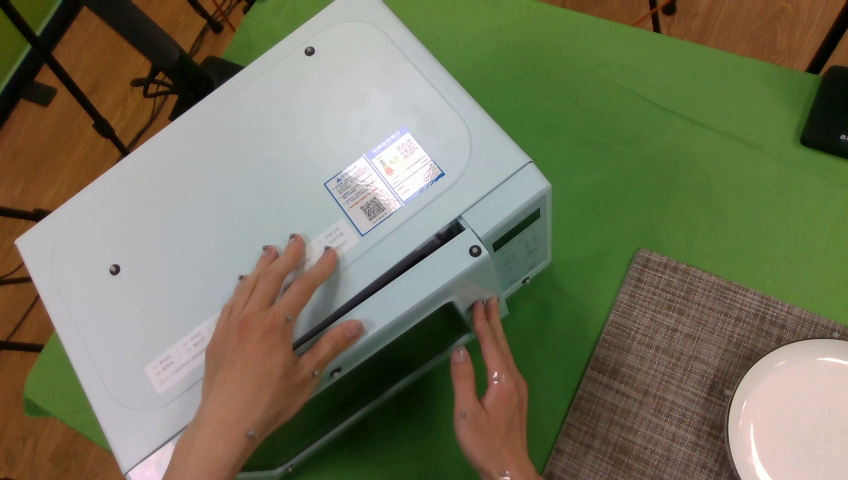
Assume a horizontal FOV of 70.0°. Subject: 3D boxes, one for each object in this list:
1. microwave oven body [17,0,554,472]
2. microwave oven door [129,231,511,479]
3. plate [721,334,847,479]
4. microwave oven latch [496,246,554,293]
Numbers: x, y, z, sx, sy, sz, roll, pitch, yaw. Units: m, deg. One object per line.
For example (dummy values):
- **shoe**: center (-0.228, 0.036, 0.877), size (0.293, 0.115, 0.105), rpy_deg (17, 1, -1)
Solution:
- **microwave oven body**: center (-0.129, -0.001, 0.672), size (0.441, 0.262, 0.323), rpy_deg (-38, 69, -1)
- **microwave oven door**: center (-0.074, 0.135, 0.611), size (0.356, 0.246, 0.039), rpy_deg (-35, 68, -1)
- **plate**: center (0.411, 0.201, 0.615), size (0.207, 0.039, 0.206), rpy_deg (-3, 72, 10)
- **microwave oven latch**: center (0.117, 0.028, 0.716), size (0.079, 0.030, 0.030), rpy_deg (-36, 69, -1)
